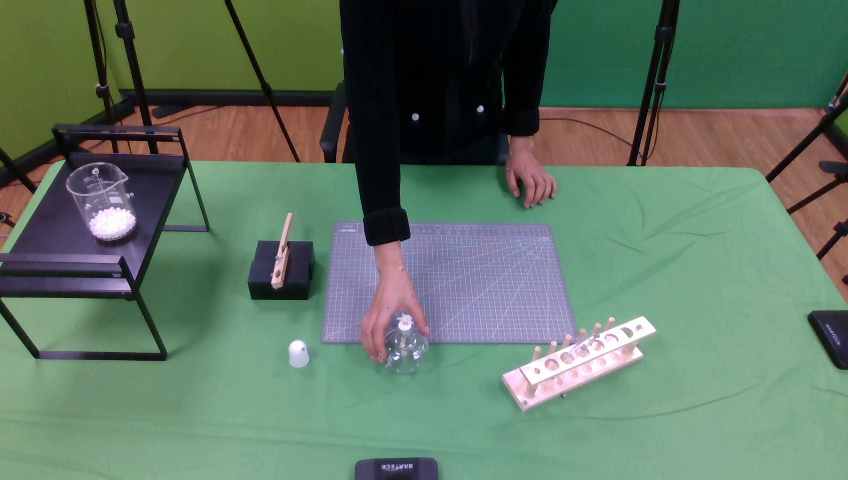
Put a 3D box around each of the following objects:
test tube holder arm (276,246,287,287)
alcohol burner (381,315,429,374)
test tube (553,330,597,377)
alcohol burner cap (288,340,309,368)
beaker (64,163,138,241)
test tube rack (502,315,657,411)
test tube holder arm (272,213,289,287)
[{"bbox_3d":[-0.251,0.046,1.068,0.010,0.015,0.087,-1,45,-4],"label":"test tube holder arm"},{"bbox_3d":[-0.031,0.162,0.973,0.078,0.120,0.077,1,45,-1],"label":"alcohol burner"},{"bbox_3d":[0.226,0.176,0.924,0.017,0.151,0.017,6,55,-9],"label":"test tube"},{"bbox_3d":[-0.207,0.183,0.991,0.034,0.048,0.033,2,47,-2],"label":"alcohol burner cap"},{"bbox_3d":[-0.477,-0.055,0.910,0.084,0.101,0.073,-9,48,-13],"label":"beaker"},{"bbox_3d":[0.253,0.186,0.988,0.242,0.085,0.066,-18,50,-20],"label":"test tube rack"},{"bbox_3d":[-0.259,0.015,1.099,0.013,0.015,0.177,-1,45,-4],"label":"test tube holder arm"}]
